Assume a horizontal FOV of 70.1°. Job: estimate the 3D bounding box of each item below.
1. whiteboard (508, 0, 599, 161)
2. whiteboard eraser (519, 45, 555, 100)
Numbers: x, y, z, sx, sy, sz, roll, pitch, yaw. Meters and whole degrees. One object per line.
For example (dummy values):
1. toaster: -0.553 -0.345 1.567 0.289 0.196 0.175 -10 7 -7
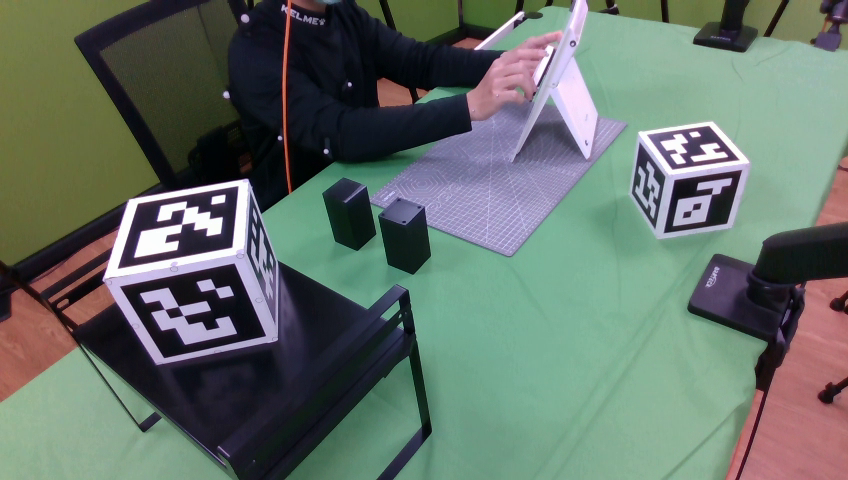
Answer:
1. whiteboard: 0.286 -0.289 1.089 0.144 0.305 0.217 22 45 3
2. whiteboard eraser: 0.198 -0.295 1.063 0.019 0.101 0.041 30 32 2
